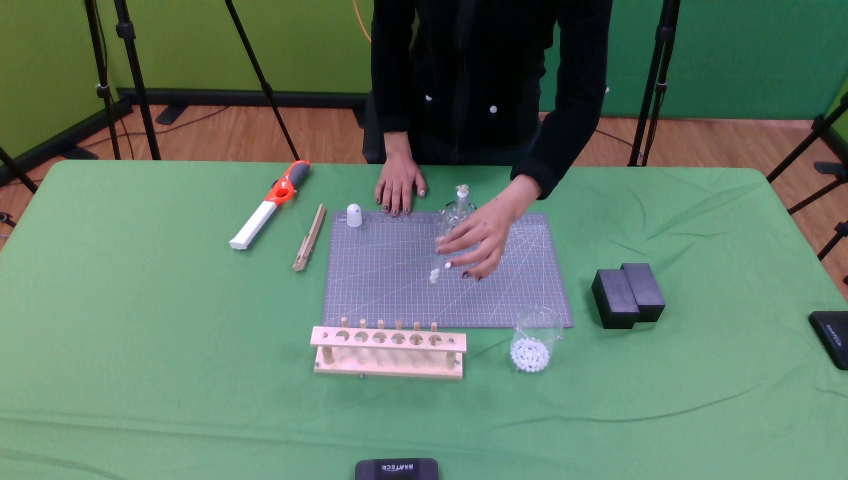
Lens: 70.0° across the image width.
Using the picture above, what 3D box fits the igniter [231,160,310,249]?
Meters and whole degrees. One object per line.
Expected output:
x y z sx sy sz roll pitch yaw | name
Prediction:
-0.311 -0.081 1.250 0.057 0.025 0.275 9 45 18 | igniter

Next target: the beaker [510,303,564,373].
0.182 0.164 1.000 0.074 0.101 0.083 2 45 -1 | beaker

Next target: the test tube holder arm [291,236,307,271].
-0.234 0.024 1.163 0.010 0.015 0.087 -17 38 28 | test tube holder arm

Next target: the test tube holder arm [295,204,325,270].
-0.222 -0.009 1.192 0.013 0.015 0.177 -18 38 27 | test tube holder arm

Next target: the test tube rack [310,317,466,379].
-0.056 0.171 0.986 0.242 0.085 0.066 3 45 -1 | test tube rack

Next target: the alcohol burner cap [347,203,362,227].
-0.141 -0.053 1.222 0.034 0.048 0.033 2 47 -2 | alcohol burner cap

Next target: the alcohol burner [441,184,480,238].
0.073 -0.061 1.195 0.078 0.120 0.077 1 47 0 | alcohol burner

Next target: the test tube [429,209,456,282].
0.028 0.012 0.947 0.017 0.151 0.017 7 43 -6 | test tube
